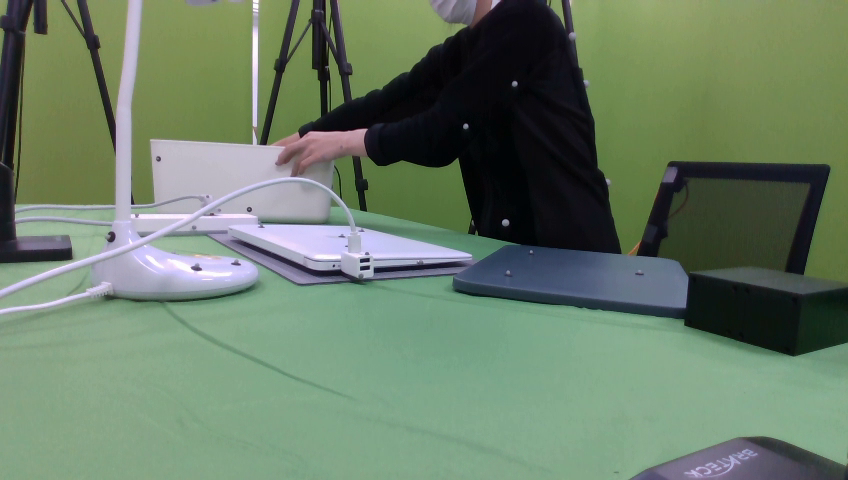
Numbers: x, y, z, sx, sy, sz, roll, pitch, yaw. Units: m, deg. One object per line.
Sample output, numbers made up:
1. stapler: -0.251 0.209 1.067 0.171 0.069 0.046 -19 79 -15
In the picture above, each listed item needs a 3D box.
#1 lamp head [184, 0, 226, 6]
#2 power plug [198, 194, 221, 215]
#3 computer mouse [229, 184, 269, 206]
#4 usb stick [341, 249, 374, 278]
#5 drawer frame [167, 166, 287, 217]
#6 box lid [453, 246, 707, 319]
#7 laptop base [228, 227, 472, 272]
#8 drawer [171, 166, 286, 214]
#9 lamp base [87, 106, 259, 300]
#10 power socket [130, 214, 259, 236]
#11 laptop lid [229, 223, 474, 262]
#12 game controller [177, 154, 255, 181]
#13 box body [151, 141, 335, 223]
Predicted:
1. lamp head: -0.229 -0.320 0.627 0.112 0.112 0.123 6 -35 26
2. power plug: -0.386 -0.055 1.088 0.035 0.052 0.072 -2 7 -24
3. computer mouse: -0.384 -0.100 1.331 0.063 0.041 0.117 -2 15 1
4. usb stick: -0.079 0.026 0.686 0.021 0.027 0.059 -7 9 -30
5. drawer frame: -0.421 -0.111 1.330 0.214 0.083 0.201 -6 11 -7
6. box lid: 0.204 0.044 0.780 0.262 0.015 0.372 5 7 17
7. laptop base: -0.124 0.011 0.888 0.237 0.023 0.352 2 6 -35
8. drawer: -0.418 -0.112 1.330 0.212 0.073 0.194 -7 13 -6
9. lamp base: -0.254 -0.039 0.603 0.160 0.180 0.179 4 10 18
10. power socket: -0.397 -0.028 1.048 0.228 0.032 0.072 -3 7 -35
11. laptop lid: -0.121 0.000 0.888 0.243 0.013 0.355 1 7 -33
12. game controller: -0.455 -0.158 1.310 0.156 0.051 0.096 -10 7 -30
13. box body: -0.383 -0.130 1.344 0.365 0.160 0.253 1 7 -9
